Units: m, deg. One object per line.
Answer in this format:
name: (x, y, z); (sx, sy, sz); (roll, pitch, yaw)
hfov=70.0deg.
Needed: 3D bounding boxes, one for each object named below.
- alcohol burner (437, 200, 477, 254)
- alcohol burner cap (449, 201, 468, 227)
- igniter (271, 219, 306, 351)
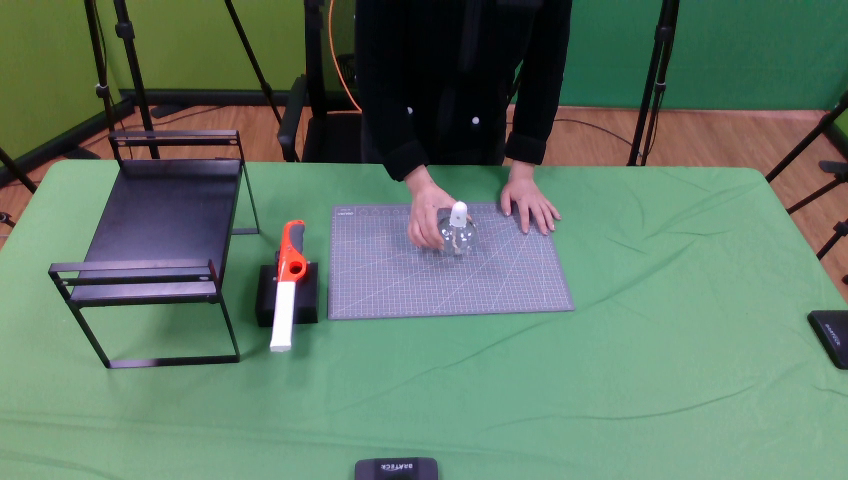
alcohol burner: (0.064, -0.030, 1.137); (0.078, 0.119, 0.077); (4, 46, -4)
alcohol burner cap: (0.064, -0.051, 1.115); (0.034, 0.048, 0.033); (3, 45, -3)
igniter: (-0.235, 0.067, 1.047); (0.057, 0.025, 0.274); (0, 49, -6)
